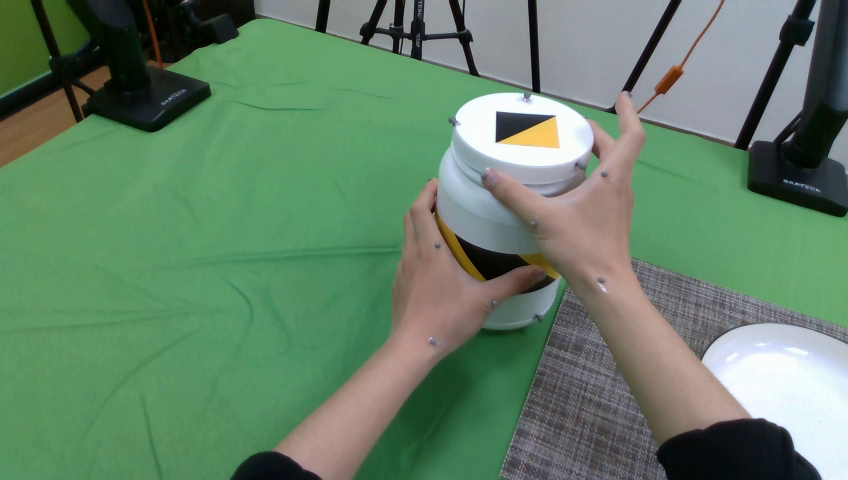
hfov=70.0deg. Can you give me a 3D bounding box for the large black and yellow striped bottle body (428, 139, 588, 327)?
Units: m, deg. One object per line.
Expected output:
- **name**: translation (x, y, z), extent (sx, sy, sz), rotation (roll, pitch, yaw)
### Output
- **large black and yellow striped bottle body**: translation (0.074, -0.024, 0.558), extent (0.131, 0.185, 0.129), rotation (3, 43, -3)

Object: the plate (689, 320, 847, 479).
- **plate**: translation (0.319, 0.157, 0.496), extent (0.208, 0.039, 0.205), rotation (4, 43, -3)

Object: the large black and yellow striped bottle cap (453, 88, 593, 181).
- **large black and yellow striped bottle cap**: translation (0.081, -0.089, 0.497), extent (0.115, 0.019, 0.114), rotation (3, 44, -2)
